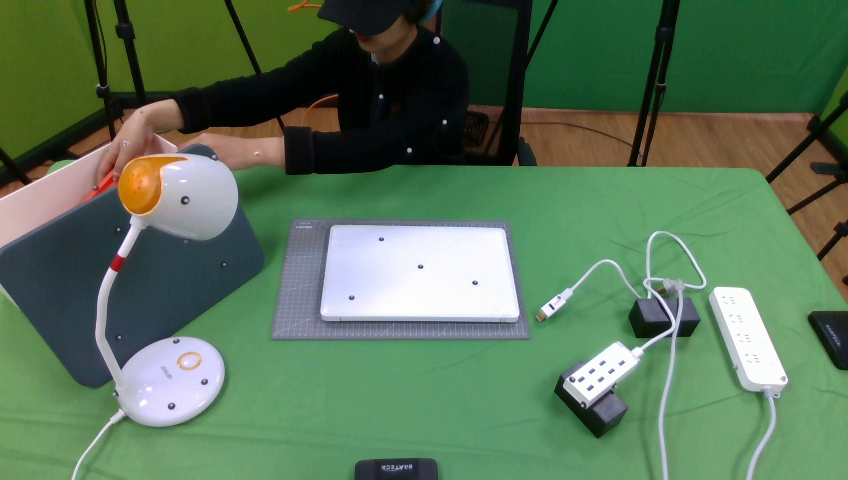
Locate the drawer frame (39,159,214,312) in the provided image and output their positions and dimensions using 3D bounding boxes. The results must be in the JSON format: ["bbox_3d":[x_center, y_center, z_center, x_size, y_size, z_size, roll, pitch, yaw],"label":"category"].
[{"bbox_3d":[-0.523,-0.013,1.078,0.201,0.083,0.213,26,70,19],"label":"drawer frame"}]

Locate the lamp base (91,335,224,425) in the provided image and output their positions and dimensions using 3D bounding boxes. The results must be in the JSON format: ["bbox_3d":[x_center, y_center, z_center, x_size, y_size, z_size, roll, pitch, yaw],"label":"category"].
[{"bbox_3d":[-0.401,0.170,0.892,0.160,0.181,0.179,30,53,23],"label":"lamp base"}]

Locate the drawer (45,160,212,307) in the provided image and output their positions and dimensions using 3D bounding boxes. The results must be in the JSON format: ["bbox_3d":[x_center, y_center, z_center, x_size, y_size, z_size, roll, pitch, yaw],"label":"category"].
[{"bbox_3d":[-0.524,-0.015,1.082,0.194,0.073,0.211,29,69,19],"label":"drawer"}]

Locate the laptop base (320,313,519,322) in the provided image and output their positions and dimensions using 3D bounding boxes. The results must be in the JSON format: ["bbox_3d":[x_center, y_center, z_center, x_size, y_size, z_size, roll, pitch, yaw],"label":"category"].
[{"bbox_3d":[-0.009,0.062,1.138,0.354,0.023,0.234,1,42,-3],"label":"laptop base"}]

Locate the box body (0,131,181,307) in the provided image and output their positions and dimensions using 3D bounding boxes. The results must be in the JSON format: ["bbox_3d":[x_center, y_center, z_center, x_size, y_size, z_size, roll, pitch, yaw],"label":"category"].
[{"bbox_3d":[-0.551,-0.007,1.068,0.253,0.161,0.363,30,51,23],"label":"box body"}]

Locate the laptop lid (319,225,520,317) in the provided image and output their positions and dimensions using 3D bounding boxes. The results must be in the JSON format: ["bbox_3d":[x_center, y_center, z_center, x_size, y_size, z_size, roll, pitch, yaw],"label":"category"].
[{"bbox_3d":[-0.008,0.052,1.131,0.357,0.013,0.240,2,43,-2],"label":"laptop lid"}]

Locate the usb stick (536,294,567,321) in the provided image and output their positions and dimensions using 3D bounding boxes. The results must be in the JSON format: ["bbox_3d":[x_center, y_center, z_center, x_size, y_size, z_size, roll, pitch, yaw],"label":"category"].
[{"bbox_3d":[0.226,0.123,1.083,0.059,0.027,0.021,-37,77,-8],"label":"usb stick"}]

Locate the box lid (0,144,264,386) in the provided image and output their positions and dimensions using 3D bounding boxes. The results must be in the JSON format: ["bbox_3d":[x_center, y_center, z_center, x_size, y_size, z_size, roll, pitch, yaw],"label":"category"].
[{"bbox_3d":[-0.443,0.032,0.979,0.015,0.264,0.371,13,42,41],"label":"box lid"}]

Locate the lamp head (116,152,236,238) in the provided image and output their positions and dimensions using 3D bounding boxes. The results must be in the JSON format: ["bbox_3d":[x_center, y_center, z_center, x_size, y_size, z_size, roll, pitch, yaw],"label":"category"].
[{"bbox_3d":[-0.315,-0.057,0.748,0.112,0.112,0.123,26,10,20],"label":"lamp head"}]

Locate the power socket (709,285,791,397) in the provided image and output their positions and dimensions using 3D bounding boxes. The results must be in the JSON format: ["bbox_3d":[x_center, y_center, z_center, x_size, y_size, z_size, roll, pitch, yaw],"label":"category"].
[{"bbox_3d":[0.567,0.168,1.064,0.072,0.033,0.225,2,46,0],"label":"power socket"}]

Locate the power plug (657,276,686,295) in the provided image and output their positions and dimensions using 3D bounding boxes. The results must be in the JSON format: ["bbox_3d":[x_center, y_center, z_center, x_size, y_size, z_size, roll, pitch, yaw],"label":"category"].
[{"bbox_3d":[0.450,0.087,1.113,0.073,0.052,0.035,-13,72,-55],"label":"power plug"}]

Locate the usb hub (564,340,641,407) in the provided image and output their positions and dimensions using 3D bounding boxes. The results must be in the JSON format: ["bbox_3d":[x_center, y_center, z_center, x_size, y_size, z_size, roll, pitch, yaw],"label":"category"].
[{"bbox_3d":[0.278,0.205,0.944,0.125,0.025,0.049,-27,52,-28],"label":"usb hub"}]

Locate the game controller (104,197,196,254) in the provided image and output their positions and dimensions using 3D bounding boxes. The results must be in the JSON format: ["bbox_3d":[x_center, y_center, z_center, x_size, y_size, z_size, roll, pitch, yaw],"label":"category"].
[{"bbox_3d":[-0.504,-0.036,1.108,0.155,0.052,0.097,30,40,16],"label":"game controller"}]
